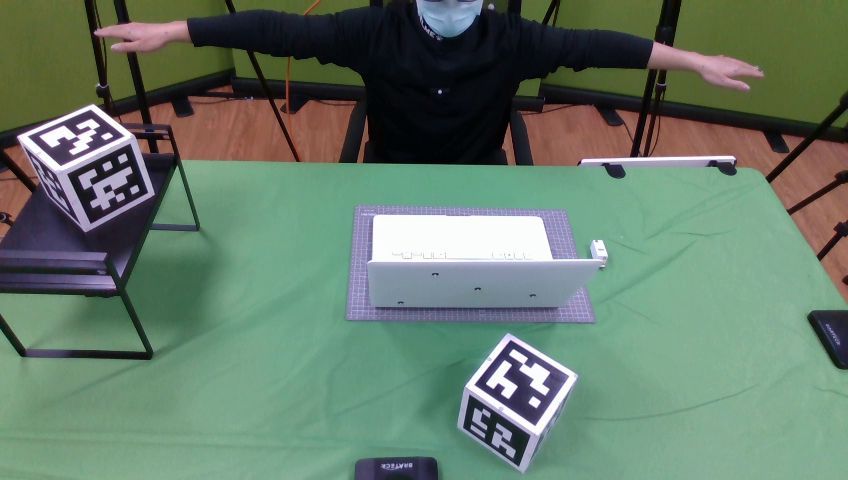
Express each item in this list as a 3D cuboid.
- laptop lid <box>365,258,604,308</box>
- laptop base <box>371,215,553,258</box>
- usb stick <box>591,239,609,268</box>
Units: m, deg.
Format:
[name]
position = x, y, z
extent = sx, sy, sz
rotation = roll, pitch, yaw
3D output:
[laptop lid]
position = 0.085, 0.074, 0.978
extent = 0.357, 0.242, 0.013
rotation = 1, 67, -5
[laptop base]
position = 0.075, 0.037, 1.167
extent = 0.355, 0.023, 0.234
rotation = 0, 43, -4
[usb stick]
position = 0.347, 0.028, 1.188
extent = 0.021, 0.027, 0.059
rotation = 4, 48, -6
